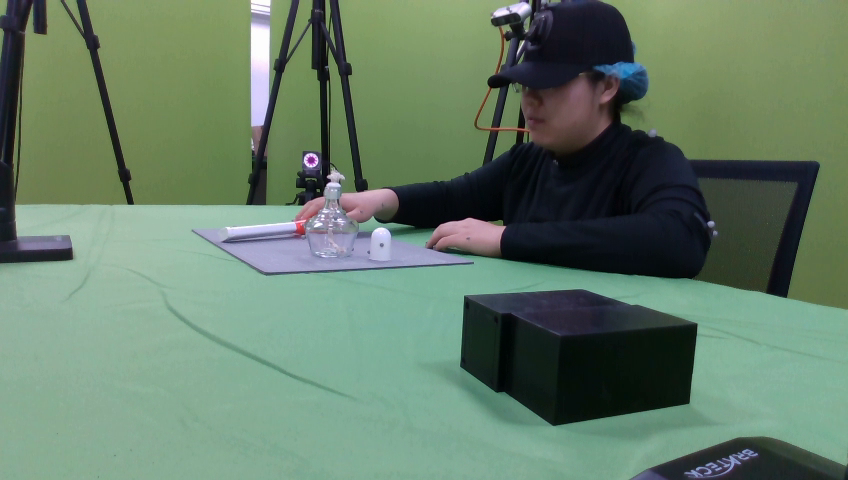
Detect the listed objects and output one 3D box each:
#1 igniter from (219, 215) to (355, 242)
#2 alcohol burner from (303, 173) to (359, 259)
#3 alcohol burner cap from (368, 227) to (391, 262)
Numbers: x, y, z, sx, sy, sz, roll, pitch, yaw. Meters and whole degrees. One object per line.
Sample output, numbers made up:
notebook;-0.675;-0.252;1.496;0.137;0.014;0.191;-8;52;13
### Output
igniter;-0.220;-0.021;1.033;0.057;0.025;0.278;-22;-8;39
alcohol burner;-0.130;-0.034;0.850;0.078;0.119;0.078;2;5;0
alcohol burner cap;-0.060;0.006;0.836;0.034;0.048;0.034;2;7;0
